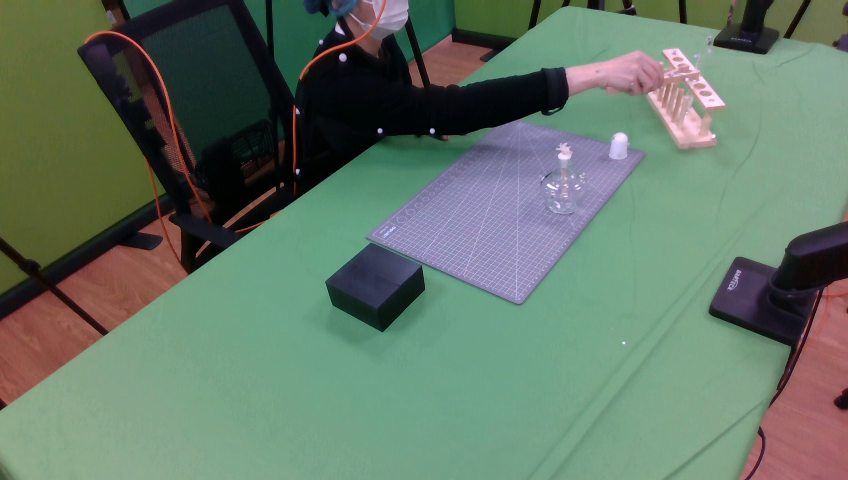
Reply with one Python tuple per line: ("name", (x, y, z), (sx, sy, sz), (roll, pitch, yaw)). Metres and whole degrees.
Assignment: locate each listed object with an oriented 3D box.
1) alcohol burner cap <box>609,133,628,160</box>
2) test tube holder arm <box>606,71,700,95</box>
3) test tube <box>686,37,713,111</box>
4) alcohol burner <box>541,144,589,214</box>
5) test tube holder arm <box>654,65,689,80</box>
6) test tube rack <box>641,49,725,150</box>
("alcohol burner cap", (0.356, -0.172, 1.101), (0.034, 0.048, 0.033), (-6, 40, 5))
("test tube holder arm", (0.415, -0.285, 1.096), (0.179, 0.015, 0.013), (-13, 40, -8))
("test tube", (0.509, -0.306, 1.129), (0.017, 0.151, 0.017), (-1, 45, 2))
("alcohol burner", (0.229, -0.102, 0.983), (0.078, 0.119, 0.077), (-6, 41, 5))
("test tube holder arm", (0.454, -0.301, 1.110), (0.088, 0.015, 0.010), (-27, 45, -23))
("test tube rack", (0.495, -0.279, 1.175), (0.067, 0.085, 0.241), (-5, 41, 3))
